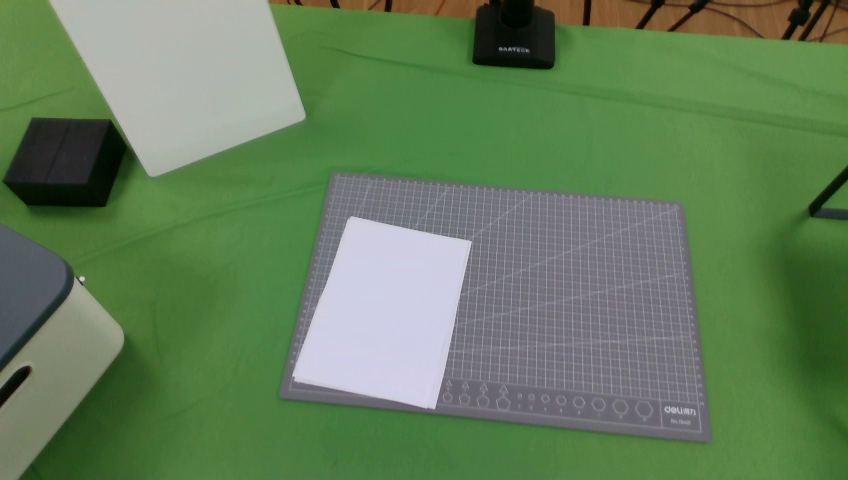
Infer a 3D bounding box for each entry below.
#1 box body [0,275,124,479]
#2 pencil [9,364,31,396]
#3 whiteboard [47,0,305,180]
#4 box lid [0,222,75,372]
[{"bbox_3d":[-0.523,0.089,0.586,0.362,0.161,0.253,24,63,12],"label":"box body"},{"bbox_3d":[-0.421,0.149,0.631,0.012,0.012,0.192,7,51,4],"label":"pencil"},{"bbox_3d":[-0.310,-0.270,0.748,0.217,0.308,0.142,-25,44,-14],"label":"whiteboard"},{"bbox_3d":[-0.524,0.051,0.522,0.370,0.015,0.262,24,63,12],"label":"box lid"}]
